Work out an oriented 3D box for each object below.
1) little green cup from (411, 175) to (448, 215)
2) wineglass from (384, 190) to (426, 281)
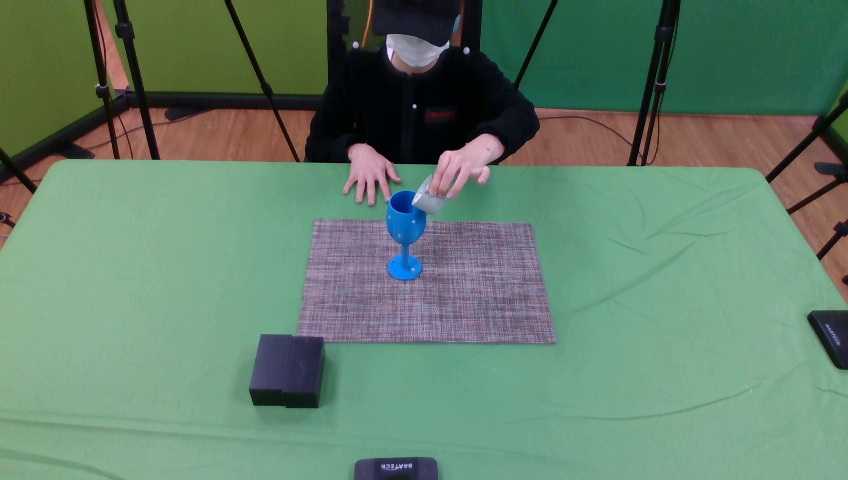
[{"bbox_3d":[0.011,-0.073,1.002,0.039,0.061,0.061,32,46,-11],"label":"little green cup"},{"bbox_3d":[-0.035,-0.005,1.090,0.074,0.173,0.073,2,46,-2],"label":"wineglass"}]
